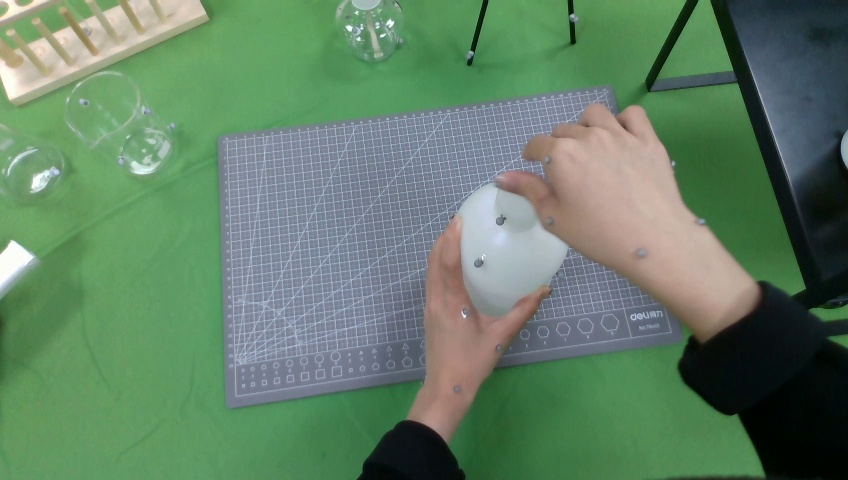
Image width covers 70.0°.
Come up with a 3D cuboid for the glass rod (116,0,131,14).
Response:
[{"bbox_3d":[-0.368,-0.314,0.637,0.008,0.201,0.008,-3,65,7],"label":"glass rod"}]

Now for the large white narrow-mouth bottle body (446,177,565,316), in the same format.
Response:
[{"bbox_3d":[0.071,0.002,0.534,0.102,0.196,0.101,0,72,2],"label":"large white narrow-mouth bottle body"}]

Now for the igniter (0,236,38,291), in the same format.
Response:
[{"bbox_3d":[-0.468,0.108,0.543,0.057,0.025,0.276,35,72,10],"label":"igniter"}]

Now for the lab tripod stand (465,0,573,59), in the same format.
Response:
[{"bbox_3d":[0.104,-0.280,0.664,0.148,0.132,0.147,0,69,0],"label":"lab tripod stand"}]

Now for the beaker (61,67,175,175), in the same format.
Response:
[{"bbox_3d":[-0.313,-0.116,0.631,0.074,0.101,0.083,7,71,4],"label":"beaker"}]

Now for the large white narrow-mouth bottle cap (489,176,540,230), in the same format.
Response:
[{"bbox_3d":[0.067,-0.027,0.443,0.038,0.024,0.037,0,73,1],"label":"large white narrow-mouth bottle cap"}]

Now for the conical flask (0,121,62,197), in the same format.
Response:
[{"bbox_3d":[-0.437,-0.099,0.614,0.075,0.122,0.075,0,70,1],"label":"conical flask"}]

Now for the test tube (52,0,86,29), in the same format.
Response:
[{"bbox_3d":[-0.409,-0.280,0.643,0.017,0.151,0.017,-2,68,5],"label":"test tube"}]

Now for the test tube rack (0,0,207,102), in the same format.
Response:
[{"bbox_3d":[-0.385,-0.255,0.687,0.242,0.086,0.066,-28,72,-9],"label":"test tube rack"}]

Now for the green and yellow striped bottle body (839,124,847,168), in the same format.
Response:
[{"bbox_3d":[0.349,-0.088,0.411,0.063,0.120,0.063,0,70,1],"label":"green and yellow striped bottle body"}]

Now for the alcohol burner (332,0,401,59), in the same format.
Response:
[{"bbox_3d":[-0.065,-0.258,0.670,0.078,0.120,0.077,0,69,0],"label":"alcohol burner"}]

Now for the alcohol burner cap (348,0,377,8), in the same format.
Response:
[{"bbox_3d":[-0.067,-0.272,0.636,0.034,0.048,0.033,0,69,0],"label":"alcohol burner cap"}]
